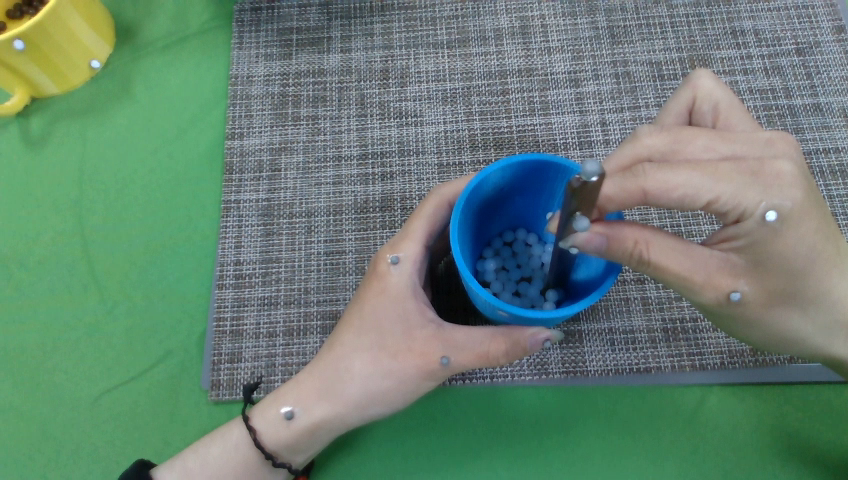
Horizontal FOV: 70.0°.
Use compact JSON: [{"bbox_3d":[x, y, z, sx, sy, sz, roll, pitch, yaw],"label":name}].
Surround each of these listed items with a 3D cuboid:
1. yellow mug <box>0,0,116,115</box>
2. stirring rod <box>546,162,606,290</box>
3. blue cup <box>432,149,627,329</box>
[{"bbox_3d":[-0.292,-0.151,0.434,0.100,0.064,0.130,8,72,6],"label":"yellow mug"},{"bbox_3d":[0.067,0.002,0.281,0.014,0.177,0.006,-33,72,-1],"label":"stirring rod"},{"bbox_3d":[0.057,0.011,0.336,0.092,0.101,0.092,-1,72,3],"label":"blue cup"}]
